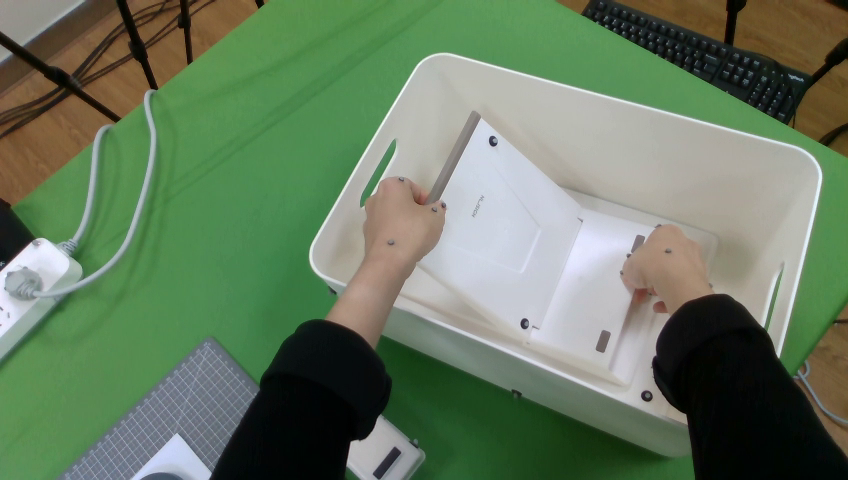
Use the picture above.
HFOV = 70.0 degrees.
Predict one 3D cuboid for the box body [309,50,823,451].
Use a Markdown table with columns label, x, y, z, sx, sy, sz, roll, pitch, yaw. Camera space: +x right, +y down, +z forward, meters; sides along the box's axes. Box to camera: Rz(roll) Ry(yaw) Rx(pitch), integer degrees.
| label | x | y | z | sx | sy | sz | roll | pitch | yaw |
| --- | --- | --- | --- | --- | --- | --- | --- | --- | --- |
| box body | 0.120 | 0.009 | 0.563 | 0.362 | 0.162 | 0.253 | 20 | 68 | 17 |

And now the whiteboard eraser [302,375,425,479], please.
| label | x | y | z | sx | sy | sz | roll | pitch | yaw |
| --- | --- | --- | --- | --- | --- | --- | --- | --- | --- |
| whiteboard eraser | -0.057 | 0.182 | 0.570 | 0.112 | 0.042 | 0.055 | 36 | 72 | 22 |

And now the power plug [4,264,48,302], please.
| label | x | y | z | sx | sy | sz | roll | pitch | yaw |
| --- | --- | --- | --- | --- | --- | --- | --- | --- | --- |
| power plug | -0.430 | 0.057 | 0.662 | 0.035 | 0.053 | 0.072 | -41 | 72 | -12 |

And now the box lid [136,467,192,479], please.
| label | x | y | z | sx | sy | sz | roll | pitch | yaw |
| --- | --- | --- | --- | --- | --- | --- | --- | --- | --- |
| box lid | -0.182 | 0.392 | 0.501 | 0.369 | 0.015 | 0.262 | 28 | 71 | 18 |

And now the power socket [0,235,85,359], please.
| label | x | y | z | sx | sy | sz | roll | pitch | yaw |
| --- | --- | --- | --- | --- | --- | --- | --- | --- | --- |
| power socket | -0.482 | 0.089 | 0.678 | 0.071 | 0.033 | 0.226 | 34 | 72 | 20 |

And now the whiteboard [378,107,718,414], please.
| label | x | y | z | sx | sy | sz | roll | pitch | yaw |
| --- | --- | --- | --- | --- | --- | --- | --- | --- | --- |
| whiteboard | 0.115 | 0.004 | 0.574 | 0.304 | 0.145 | 0.216 | 20 | 68 | 17 |
